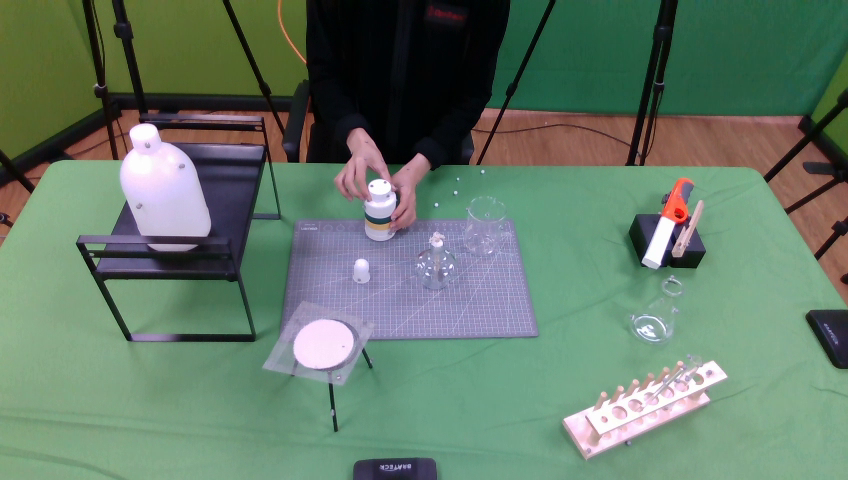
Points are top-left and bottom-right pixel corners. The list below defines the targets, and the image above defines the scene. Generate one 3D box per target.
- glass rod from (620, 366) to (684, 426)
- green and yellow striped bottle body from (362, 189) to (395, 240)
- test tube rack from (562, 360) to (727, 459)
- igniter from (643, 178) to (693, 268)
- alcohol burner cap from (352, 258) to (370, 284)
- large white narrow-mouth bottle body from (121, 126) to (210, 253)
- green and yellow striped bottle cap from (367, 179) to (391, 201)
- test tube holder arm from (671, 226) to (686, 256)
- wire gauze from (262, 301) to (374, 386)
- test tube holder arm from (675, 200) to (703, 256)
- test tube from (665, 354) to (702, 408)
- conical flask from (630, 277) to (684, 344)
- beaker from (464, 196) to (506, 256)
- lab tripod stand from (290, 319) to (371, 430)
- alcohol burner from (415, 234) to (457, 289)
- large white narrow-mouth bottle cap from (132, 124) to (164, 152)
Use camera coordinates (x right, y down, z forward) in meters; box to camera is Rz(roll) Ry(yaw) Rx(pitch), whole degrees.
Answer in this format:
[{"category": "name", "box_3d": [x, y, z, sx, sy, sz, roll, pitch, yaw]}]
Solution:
[{"category": "glass rod", "box_3d": [0.322, 0.227, 0.866, 0.008, 0.200, 0.008, 5, 51, -7]}, {"category": "green and yellow striped bottle body", "box_3d": [-0.087, -0.060, 1.174, 0.063, 0.120, 0.063, 2, 48, -2]}, {"category": "test tube rack", "box_3d": [0.341, 0.247, 0.940, 0.243, 0.085, 0.066, -16, 49, -18]}, {"category": "igniter", "box_3d": [0.488, -0.042, 1.205, 0.057, 0.025, 0.276, 30, 51, 11]}, {"category": "alcohol burner cap", "box_3d": [-0.117, 0.055, 1.118, 0.034, 0.048, 0.033, 2, 46, -1]}, {"category": "large white narrow-mouth bottle body", "box_3d": [-0.378, -0.077, 0.875, 0.102, 0.195, 0.101, 3, 46, -3]}, {"category": "green and yellow striped bottle cap", "box_3d": [-0.084, -0.094, 1.135, 0.045, 0.020, 0.045, 1, 46, -1]}, {"category": "test tube holder arm", "box_3d": [0.494, 0.001, 1.167, 0.010, 0.015, 0.087, 1, 36, 42]}, {"category": "wire gauze", "box_3d": [-0.150, 0.148, 0.873, 0.121, 0.011, 0.124, 14, 46, 12]}, {"category": "test tube holder arm", "box_3d": [0.523, -0.025, 1.190, 0.013, 0.015, 0.178, 1, 36, 41]}, {"category": "test tube", "box_3d": [0.385, 0.215, 0.906, 0.017, 0.151, 0.017, -1, 49, 1]}, {"category": "conical flask", "box_3d": [0.408, 0.117, 1.045, 0.075, 0.122, 0.075, 2, 46, -2]}, {"category": "beaker", "box_3d": [0.117, -0.026, 1.174, 0.074, 0.101, 0.083, 21, 48, 15]}, {"category": "lab tripod stand", "box_3d": [-0.146, 0.193, 0.923, 0.148, 0.132, 0.147, 1, 47, -1]}, {"category": "alcohol burner", "box_3d": [0.022, 0.033, 1.100, 0.078, 0.120, 0.077, 1, 47, -1]}, {"category": "large white narrow-mouth bottle cap", "box_3d": [-0.371, -0.137, 0.813, 0.038, 0.024, 0.037, 3, 46, -3]}]
